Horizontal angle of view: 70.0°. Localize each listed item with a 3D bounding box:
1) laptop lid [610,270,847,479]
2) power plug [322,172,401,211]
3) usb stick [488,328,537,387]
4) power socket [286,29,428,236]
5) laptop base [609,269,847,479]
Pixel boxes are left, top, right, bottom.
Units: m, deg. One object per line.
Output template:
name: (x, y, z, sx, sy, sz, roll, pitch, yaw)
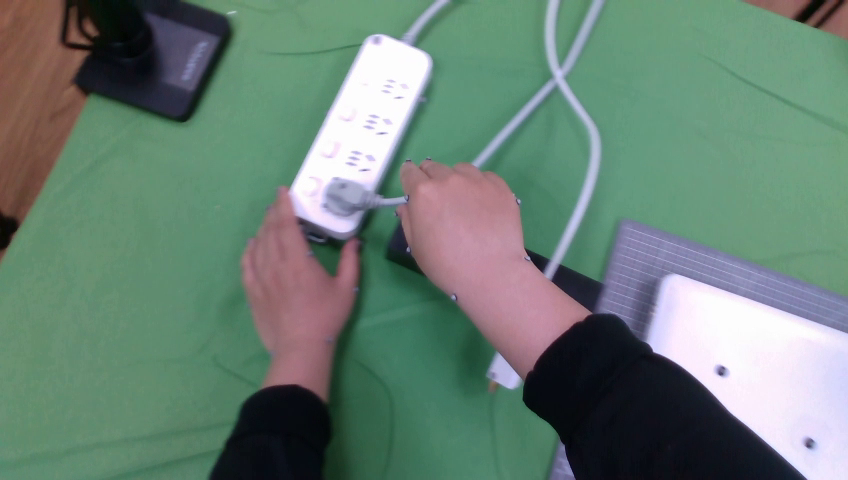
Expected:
laptop lid: (0.366, 0.191, 0.576, 0.357, 0.013, 0.241, 21, 78, -1)
power plug: (-0.062, -0.035, 0.565, 0.072, 0.053, 0.035, 34, 75, 0)
usb stick: (0.078, 0.111, 0.551, 0.027, 0.021, 0.059, 30, 102, 25)
power socket: (-0.064, -0.110, 0.602, 0.072, 0.032, 0.226, 23, 75, -1)
laptop base: (0.366, 0.191, 0.587, 0.354, 0.023, 0.234, 19, 79, -2)
